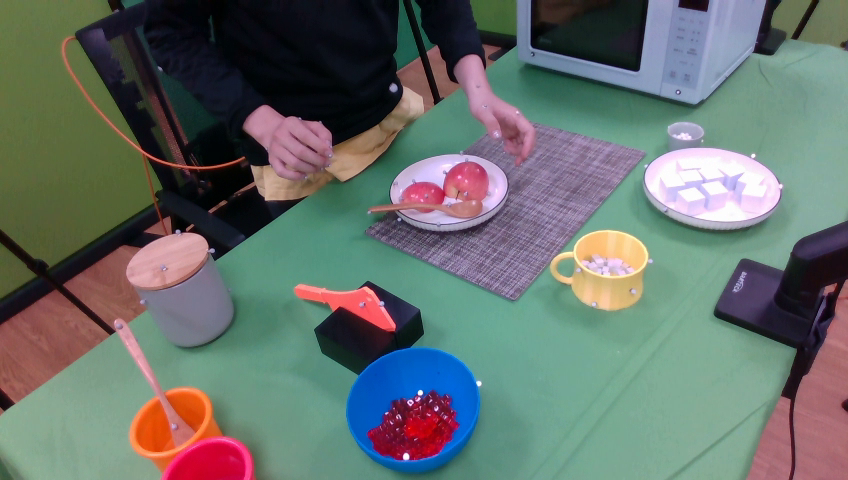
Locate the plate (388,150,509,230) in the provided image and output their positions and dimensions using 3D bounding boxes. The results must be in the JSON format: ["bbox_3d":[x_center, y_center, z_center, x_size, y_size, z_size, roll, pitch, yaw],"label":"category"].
[{"bbox_3d":[0.044,-0.082,1.043,0.209,0.038,0.208,-4,41,4],"label":"plate"}]

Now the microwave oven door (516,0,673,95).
[{"bbox_3d":[0.344,-0.458,1.257,0.353,0.245,0.039,26,52,33],"label":"microwave oven door"}]

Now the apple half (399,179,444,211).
[{"bbox_3d":[-0.003,-0.088,1.045,0.081,0.033,0.081,-2,42,2],"label":"apple half"}]

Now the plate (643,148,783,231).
[{"bbox_3d":[0.464,-0.080,0.986,0.207,0.039,0.206,-4,41,4],"label":"plate"}]

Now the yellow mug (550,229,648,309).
[{"bbox_3d":[0.245,0.040,0.856,0.130,0.064,0.099,1,42,11],"label":"yellow mug"}]

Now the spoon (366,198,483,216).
[{"bbox_3d":[0.001,-0.057,0.998,0.194,0.022,0.041,1,51,-9],"label":"spoon"}]

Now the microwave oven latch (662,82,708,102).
[{"bbox_3d":[0.517,-0.298,1.203,0.078,0.029,0.030,28,53,35],"label":"microwave oven latch"}]

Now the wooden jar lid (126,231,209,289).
[{"bbox_3d":[-0.340,0.030,0.809,0.108,0.021,0.108,-5,39,5],"label":"wooden jar lid"}]

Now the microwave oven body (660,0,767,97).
[{"bbox_3d":[0.473,-0.517,1.313,0.438,0.261,0.327,26,51,34],"label":"microwave oven body"}]

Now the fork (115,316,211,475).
[{"bbox_3d":[-0.308,0.179,0.708,0.028,0.018,0.207,-30,89,-21],"label":"fork"}]

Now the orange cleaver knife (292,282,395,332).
[{"bbox_3d":[-0.116,0.091,0.835,0.209,0.077,0.012,2,32,48],"label":"orange cleaver knife"}]

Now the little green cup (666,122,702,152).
[{"bbox_3d":[0.471,-0.184,1.102,0.061,0.039,0.061,-5,41,5],"label":"little green cup"}]

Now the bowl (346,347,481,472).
[{"bbox_3d":[-0.008,0.205,0.691,0.151,0.077,0.150,-4,40,4],"label":"bowl"}]

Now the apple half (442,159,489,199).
[{"bbox_3d":[0.074,-0.110,1.047,0.080,0.053,0.075,21,45,29],"label":"apple half"}]

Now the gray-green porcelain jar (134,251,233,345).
[{"bbox_3d":[-0.334,0.076,0.849,0.106,0.127,0.105,-4,41,4],"label":"gray-green porcelain jar"}]
